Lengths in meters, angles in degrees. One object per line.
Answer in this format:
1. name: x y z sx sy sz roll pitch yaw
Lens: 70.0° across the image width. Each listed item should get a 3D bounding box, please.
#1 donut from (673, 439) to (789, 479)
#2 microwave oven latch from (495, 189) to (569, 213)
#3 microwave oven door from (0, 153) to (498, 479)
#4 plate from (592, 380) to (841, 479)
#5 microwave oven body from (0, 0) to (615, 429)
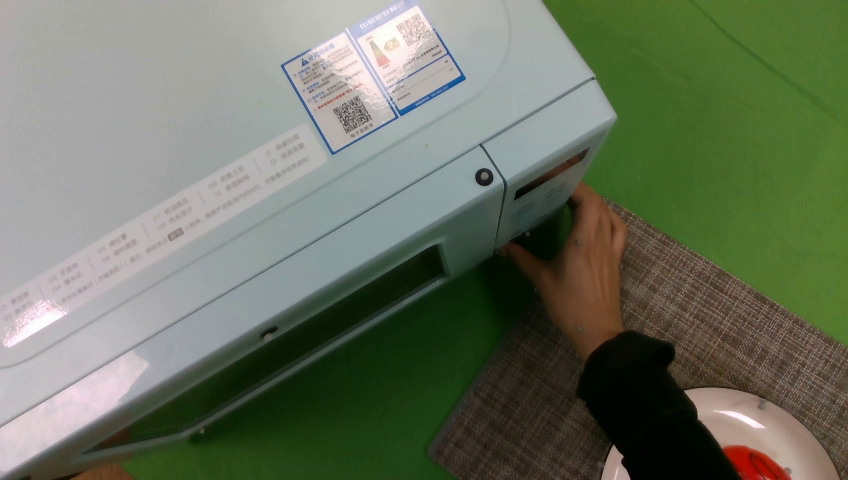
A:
1. donut: 0.261 0.219 0.513 0.099 0.048 0.098 0 82 3
2. microwave oven latch: 0.095 -0.041 0.569 0.079 0.029 0.030 -1 81 4
3. microwave oven door: -0.105 0.066 0.459 0.356 0.245 0.039 -31 78 -2
4. plate: 0.249 0.227 0.523 0.209 0.038 0.208 -1 79 4
5. microwave oven body: -0.143 -0.078 0.494 0.442 0.261 0.324 -31 79 -1
